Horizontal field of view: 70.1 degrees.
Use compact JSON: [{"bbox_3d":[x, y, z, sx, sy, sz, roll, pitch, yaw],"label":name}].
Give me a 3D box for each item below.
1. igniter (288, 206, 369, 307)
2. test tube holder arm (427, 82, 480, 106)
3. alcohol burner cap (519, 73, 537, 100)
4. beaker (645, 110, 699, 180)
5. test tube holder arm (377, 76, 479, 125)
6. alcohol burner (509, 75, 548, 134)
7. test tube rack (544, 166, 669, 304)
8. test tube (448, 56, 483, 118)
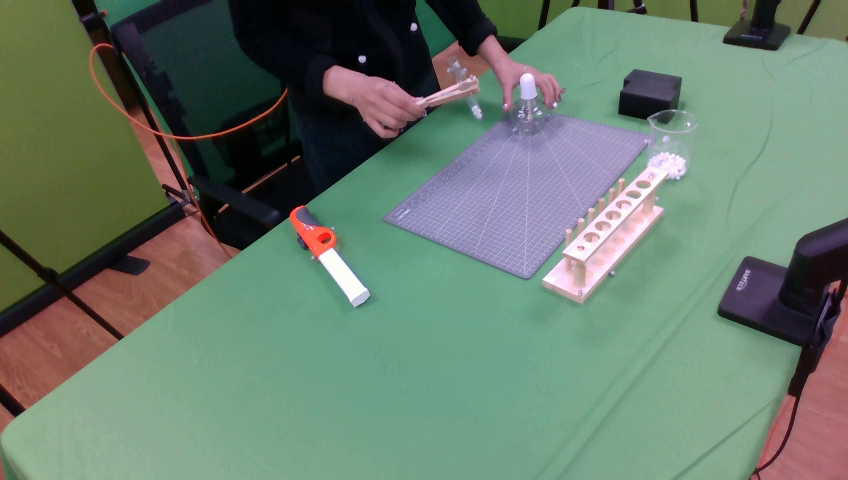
[{"bbox_3d":[-0.163,0.018,0.986,0.057,0.025,0.274,-33,45,-12],"label":"igniter"},{"bbox_3d":[0.046,-0.232,0.966,0.087,0.015,0.010,-11,63,22],"label":"test tube holder arm"},{"bbox_3d":[0.198,-0.298,1.163,0.034,0.048,0.033,-9,38,8],"label":"alcohol burner cap"},{"bbox_3d":[0.417,-0.160,1.032,0.083,0.101,0.074,25,51,35],"label":"beaker"},{"bbox_3d":[0.005,-0.225,0.983,0.178,0.015,0.013,-18,60,18],"label":"test tube holder arm"},{"bbox_3d":[0.204,-0.270,1.186,0.078,0.119,0.077,-5,42,5],"label":"alcohol burner"},{"bbox_3d":[0.274,-0.018,0.903,0.066,0.085,0.243,26,51,35],"label":"test tube rack"},{"bbox_3d":[0.068,-0.240,0.964,0.017,0.151,0.017,-8,65,19],"label":"test tube"}]
